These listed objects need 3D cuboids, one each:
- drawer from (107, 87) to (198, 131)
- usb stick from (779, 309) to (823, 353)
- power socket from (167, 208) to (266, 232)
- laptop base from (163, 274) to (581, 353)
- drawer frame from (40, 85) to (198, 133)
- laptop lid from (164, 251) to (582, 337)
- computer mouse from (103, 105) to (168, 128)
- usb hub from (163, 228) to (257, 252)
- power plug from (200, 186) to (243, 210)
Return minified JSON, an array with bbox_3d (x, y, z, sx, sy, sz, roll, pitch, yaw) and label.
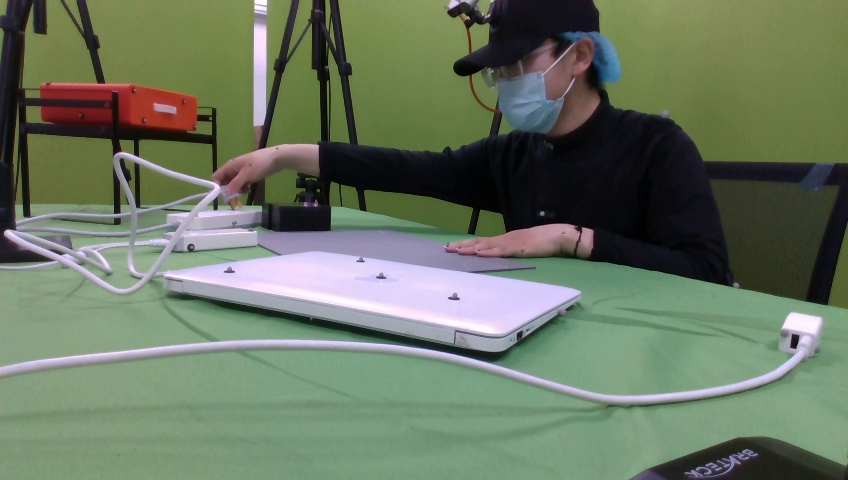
[{"bbox_3d":[-0.609,-0.264,1.235,0.211,0.073,0.195,4,8,16],"label":"drawer"},{"bbox_3d":[0.311,0.072,0.497,0.027,0.021,0.059,7,15,34],"label":"usb stick"},{"bbox_3d":[-0.380,-0.038,1.130,0.072,0.032,0.227,4,8,19],"label":"power socket"},{"bbox_3d":[-0.046,0.053,0.598,0.353,0.023,0.236,6,6,28],"label":"laptop base"},{"bbox_3d":[-0.612,-0.266,1.235,0.213,0.082,0.202,4,8,15],"label":"drawer frame"},{"bbox_3d":[-0.045,0.040,0.598,0.355,0.013,0.243,7,7,30],"label":"laptop lid"},{"bbox_3d":[-0.582,-0.249,1.223,0.118,0.041,0.062,2,3,-39],"label":"computer mouse"},{"bbox_3d":[-0.314,0.000,0.894,0.049,0.025,0.126,9,11,41],"label":"usb hub"},{"bbox_3d":[-0.392,-0.076,1.184,0.073,0.052,0.035,-29,-5,-21],"label":"power plug"}]
